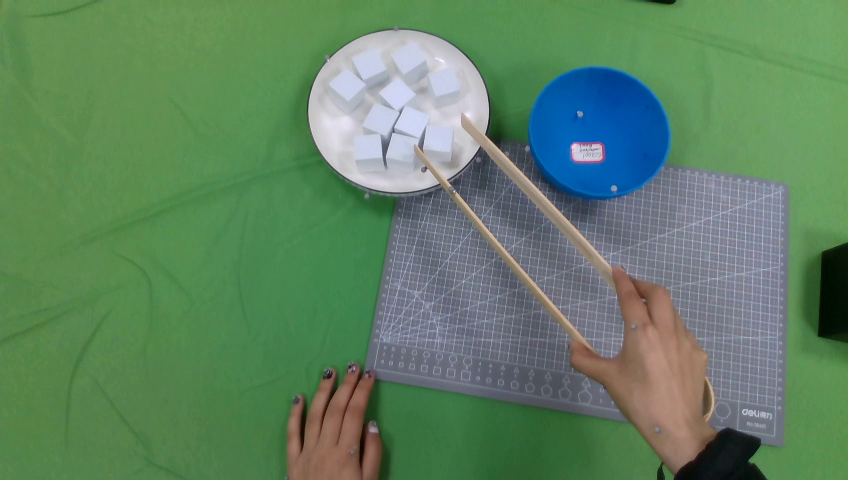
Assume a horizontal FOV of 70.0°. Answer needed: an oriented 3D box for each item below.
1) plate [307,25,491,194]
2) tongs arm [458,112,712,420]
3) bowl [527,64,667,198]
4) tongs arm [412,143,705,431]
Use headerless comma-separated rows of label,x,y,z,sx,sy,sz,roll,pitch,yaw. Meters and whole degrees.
plate,-0.028,-0.147,0.699,0.208,0.039,0.206,0,75,-1
tongs arm,0.144,0.007,0.596,0.028,0.028,0.384,-32,67,-13
bowl,0.182,-0.108,0.674,0.151,0.077,0.150,1,76,-2
tongs arm,0.114,0.029,0.590,0.051,0.027,0.381,-33,67,-10
